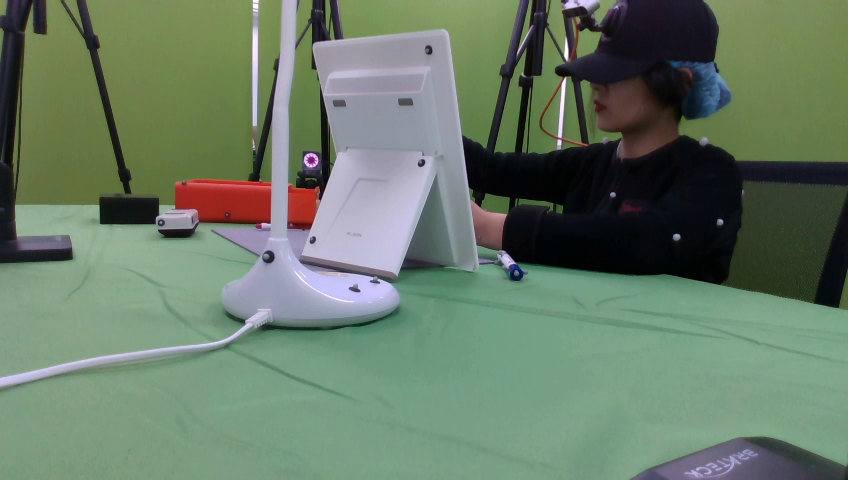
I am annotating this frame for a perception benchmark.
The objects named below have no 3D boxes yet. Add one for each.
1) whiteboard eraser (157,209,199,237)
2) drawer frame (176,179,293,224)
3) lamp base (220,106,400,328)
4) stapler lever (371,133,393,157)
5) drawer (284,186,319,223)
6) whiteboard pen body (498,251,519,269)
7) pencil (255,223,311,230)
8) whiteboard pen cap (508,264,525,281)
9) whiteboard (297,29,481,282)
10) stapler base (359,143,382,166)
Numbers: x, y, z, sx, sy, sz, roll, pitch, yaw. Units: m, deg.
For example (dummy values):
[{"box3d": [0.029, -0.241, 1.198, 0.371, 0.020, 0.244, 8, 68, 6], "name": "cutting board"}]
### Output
[{"box3d": [-0.411, -0.029, 1.016, 0.056, 0.042, 0.112, 2, 7, -16], "name": "whiteboard eraser"}, {"box3d": [-0.395, -0.086, 1.299, 0.214, 0.082, 0.201, 1, 8, -9], "name": "drawer frame"}, {"box3d": [-0.101, -0.023, 0.531, 0.160, 0.180, 0.179, 4, 10, 10], "name": "lamp base"}, {"box3d": [-0.077, -0.181, 1.160, 0.040, 0.027, 0.118, -30, 3, 4], "name": "stapler lever"}, {"box3d": [-0.333, -0.083, 1.309, 0.212, 0.073, 0.194, 1, 8, -8], "name": "drawer"}, {"box3d": [0.116, 0.032, 0.810, 0.017, 0.017, 0.140, 2, 8, -1], "name": "whiteboard pen body"}, {"box3d": [-0.216, -0.022, 1.134, 0.195, 0.012, 0.012, 2, 7, -22], "name": "pencil"}, {"box3d": [0.115, 0.039, 0.752, 0.018, 0.018, 0.033, 2, 9, 0], "name": "whiteboard pen cap"}, {"box3d": [-0.075, -0.082, 0.741, 0.216, 0.305, 0.144, 9, 29, 37], "name": "whiteboard"}, {"box3d": [-0.098, -0.167, 1.160, 0.024, 0.041, 0.130, -30, 3, 3], "name": "stapler base"}]
